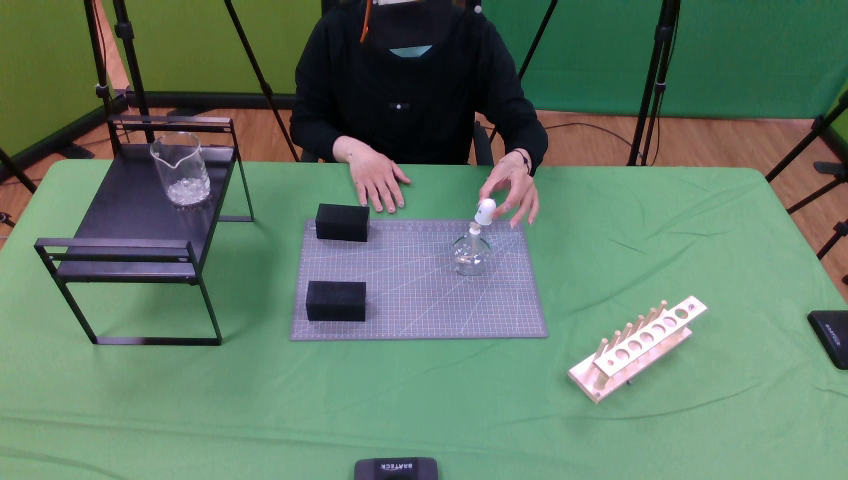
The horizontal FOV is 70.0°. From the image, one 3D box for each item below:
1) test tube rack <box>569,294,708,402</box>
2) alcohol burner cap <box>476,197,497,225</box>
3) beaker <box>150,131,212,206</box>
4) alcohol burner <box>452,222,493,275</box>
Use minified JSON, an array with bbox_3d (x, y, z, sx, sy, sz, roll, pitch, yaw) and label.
[{"bbox_3d":[0.360,0.167,1.014,0.242,0.085,0.066,-25,52,-25],"label":"test tube rack"},{"bbox_3d":[0.111,-0.054,1.055,0.034,0.048,0.033,7,38,-6],"label":"alcohol burner cap"},{"bbox_3d":[-0.385,-0.110,0.969,0.074,0.101,0.083,-6,48,-9],"label":"beaker"},{"bbox_3d":[0.091,0.008,1.124,0.078,0.119,0.077,2,48,-2],"label":"alcohol burner"}]
